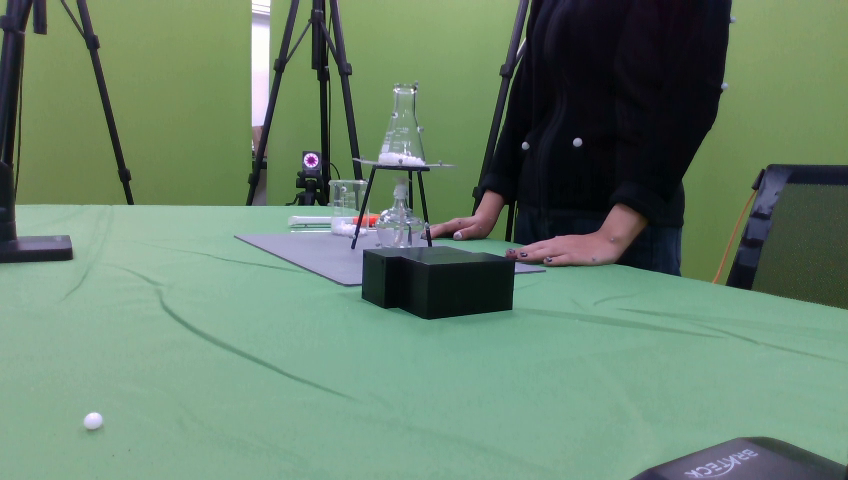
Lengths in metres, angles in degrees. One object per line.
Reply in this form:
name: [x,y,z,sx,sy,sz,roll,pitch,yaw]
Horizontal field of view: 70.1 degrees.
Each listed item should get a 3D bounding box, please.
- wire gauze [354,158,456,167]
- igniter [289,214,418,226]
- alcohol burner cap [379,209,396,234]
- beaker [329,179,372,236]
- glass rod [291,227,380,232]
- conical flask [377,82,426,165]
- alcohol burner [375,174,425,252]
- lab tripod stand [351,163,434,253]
wire gauze: [-0.030,-0.117,0.927,0.122,0.011,0.124,0,5,-36]
igniter: [-0.141,-0.042,1.258,0.278,0.025,0.057,-1,-2,-30]
alcohol burner cap: [-0.069,-0.036,1.155,0.034,0.048,0.034,3,8,0]
beaker: [-0.137,-0.060,1.101,0.084,0.100,0.074,5,7,20]
glass rod: [-0.161,-0.022,1.177,0.201,0.008,0.008,-2,8,-28]
conical flask: [-0.032,-0.175,0.918,0.075,0.122,0.075,3,8,0]
alcohol burner: [-0.036,-0.042,0.934,0.078,0.119,0.078,1,9,0]
lab tripod stand: [-0.034,-0.052,0.933,0.148,0.131,0.148,4,7,0]
